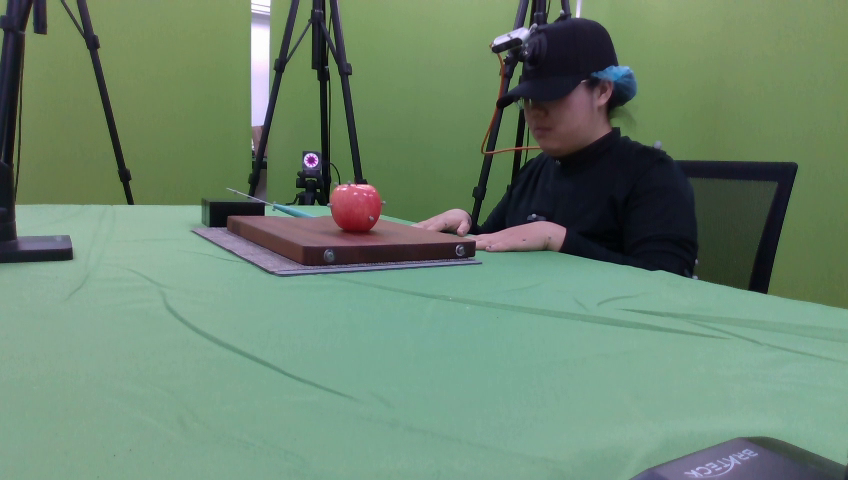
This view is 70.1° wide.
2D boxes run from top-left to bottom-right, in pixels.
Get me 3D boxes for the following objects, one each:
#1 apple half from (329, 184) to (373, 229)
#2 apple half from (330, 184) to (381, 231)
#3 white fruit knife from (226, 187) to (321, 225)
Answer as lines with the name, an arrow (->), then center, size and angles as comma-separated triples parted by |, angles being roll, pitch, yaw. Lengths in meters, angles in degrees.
apple half -> -0.123, -0.056, 0.970 | 0.082, 0.081, 0.032 | -3, 13, -36
apple half -> -0.100, -0.049, 0.939 | 0.081, 0.074, 0.053 | 1, 11, -36
white fruit knife -> -0.298, -0.068, 1.213 | 0.208, 0.016, 0.027 | 20, -3, -31
